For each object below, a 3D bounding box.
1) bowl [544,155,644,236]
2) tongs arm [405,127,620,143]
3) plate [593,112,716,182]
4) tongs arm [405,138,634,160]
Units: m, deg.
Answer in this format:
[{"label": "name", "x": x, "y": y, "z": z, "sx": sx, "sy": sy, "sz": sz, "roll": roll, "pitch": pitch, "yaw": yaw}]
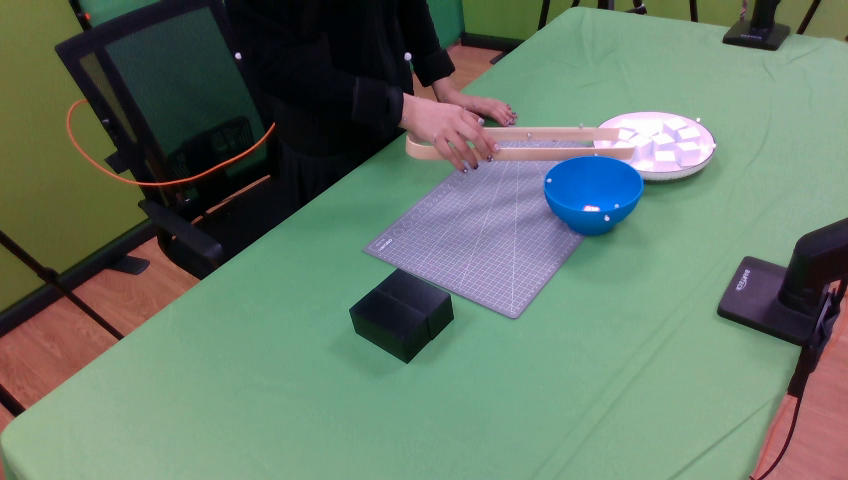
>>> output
[{"label": "bowl", "x": 0.266, "y": -0.061, "z": 0.957, "sx": 0.151, "sy": 0.077, "sz": 0.150, "roll": -5, "pitch": 40, "yaw": 5}, {"label": "tongs arm", "x": 0.158, "y": -0.172, "z": 1.036, "sx": 0.386, "sy": 0.026, "sz": 0.050, "roll": 0, "pitch": 40, "yaw": -8}, {"label": "plate", "x": 0.408, "y": -0.163, "z": 1.084, "sx": 0.207, "sy": 0.039, "sz": 0.206, "roll": -4, "pitch": 40, "yaw": 4}, {"label": "tongs arm", "x": 0.163, "y": -0.149, "z": 1.007, "sx": 0.389, "sy": 0.028, "sz": 0.028, "roll": 0, "pitch": 43, "yaw": -8}]
